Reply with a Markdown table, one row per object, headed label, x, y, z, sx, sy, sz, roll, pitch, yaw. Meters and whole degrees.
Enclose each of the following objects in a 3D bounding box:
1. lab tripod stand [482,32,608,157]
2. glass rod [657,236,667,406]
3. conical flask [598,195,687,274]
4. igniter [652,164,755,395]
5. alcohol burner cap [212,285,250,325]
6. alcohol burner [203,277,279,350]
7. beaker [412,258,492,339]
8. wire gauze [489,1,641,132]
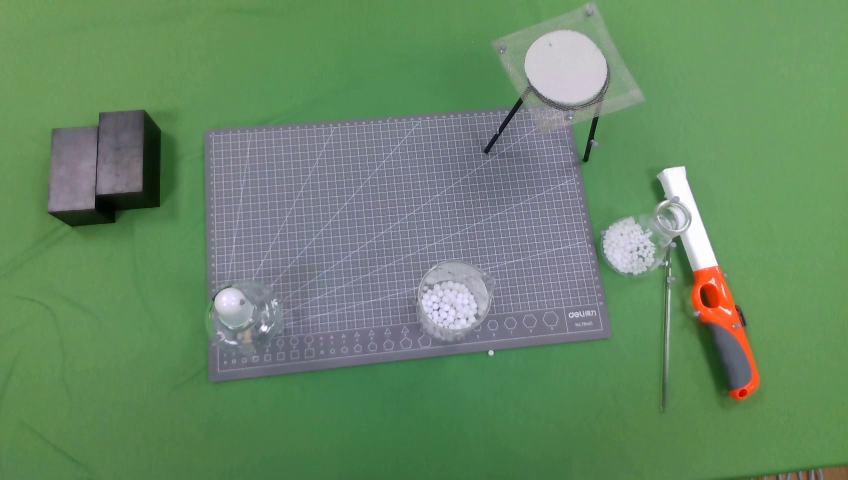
| label | x | y | z | sx | sy | sz | roll | pitch | yaw |
| --- | --- | --- | --- | --- | --- | --- | --- | --- | --- |
| lab tripod stand | 0.142 | -0.159 | 0.696 | 0.148 | 0.132 | 0.147 | 1 | 76 | -4 |
| glass rod | 0.275 | 0.090 | 0.701 | 0.008 | 0.008 | 0.198 | 8 | 74 | -1 |
| conical flask | 0.246 | -0.010 | 0.669 | 0.075 | 0.122 | 0.075 | 1 | 75 | -2 |
| igniter | 0.326 | 0.041 | 0.708 | 0.057 | 0.025 | 0.275 | -9 | 76 | -17 |
| alcohol burner cap | -0.189 | 0.060 | 0.588 | 0.034 | 0.048 | 0.033 | 3 | 66 | -7 |
| alcohol burner | -0.191 | 0.072 | 0.622 | 0.078 | 0.119 | 0.077 | 1 | 73 | -4 |
| beaker | 0.028 | 0.065 | 0.644 | 0.084 | 0.100 | 0.073 | -24 | 77 | -9 |
| wire gauze | 0.147 | -0.182 | 0.633 | 0.125 | 0.011 | 0.121 | -21 | 78 | -9 |
